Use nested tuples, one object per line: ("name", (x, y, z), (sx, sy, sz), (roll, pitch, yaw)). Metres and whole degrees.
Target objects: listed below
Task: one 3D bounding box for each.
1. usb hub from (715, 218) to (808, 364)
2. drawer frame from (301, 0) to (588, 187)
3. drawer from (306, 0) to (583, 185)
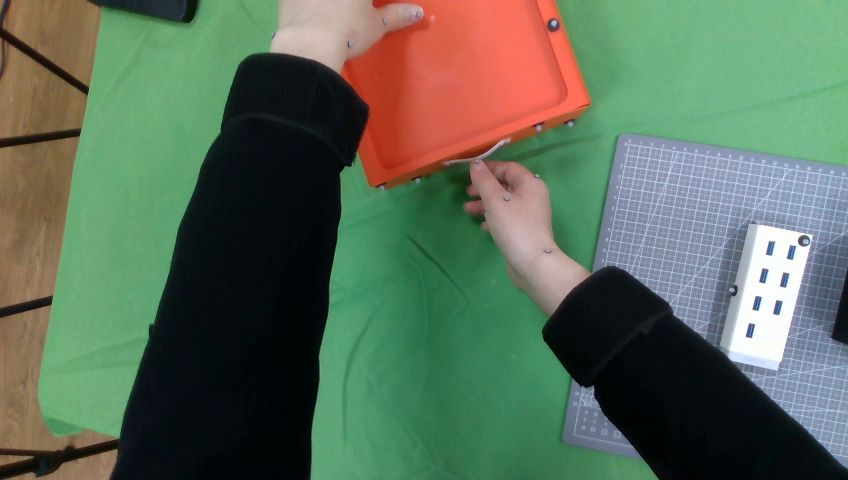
("usb hub", (0.304, 0.046, 0.548), (0.049, 0.025, 0.125), (11, 95, 5))
("drawer frame", (0.011, -0.179, 0.539), (0.201, 0.083, 0.213), (-20, 90, 7))
("drawer", (0.013, -0.177, 0.542), (0.194, 0.073, 0.211), (-20, 90, 9))
